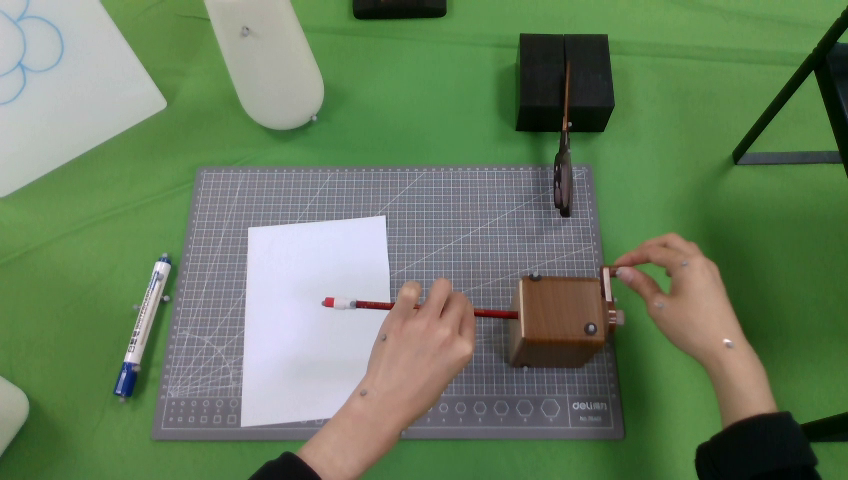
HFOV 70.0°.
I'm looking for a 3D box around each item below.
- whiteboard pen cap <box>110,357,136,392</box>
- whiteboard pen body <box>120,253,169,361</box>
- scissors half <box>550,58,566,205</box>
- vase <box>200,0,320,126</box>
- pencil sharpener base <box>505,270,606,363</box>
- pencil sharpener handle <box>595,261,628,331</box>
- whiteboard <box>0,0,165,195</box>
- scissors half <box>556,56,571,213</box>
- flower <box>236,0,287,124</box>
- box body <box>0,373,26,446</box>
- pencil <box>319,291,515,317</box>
[{"bbox_3d":[-0.293,0.131,0.594,0.018,0.018,0.033,5,63,4],"label":"whiteboard pen cap"},{"bbox_3d":[-0.287,0.078,0.618,0.017,0.017,0.140,6,65,4],"label":"whiteboard pen body"},{"bbox_3d":[0.144,-0.121,0.641,0.013,0.040,0.174,0,68,21],"label":"scissors half"},{"bbox_3d":[-0.173,-0.209,0.639,0.098,0.201,0.097,-1,66,2],"label":"vase"},{"bbox_3d":[0.118,0.074,0.561,0.077,0.108,0.061,0,66,1],"label":"pencil sharpener base"},{"bbox_3d":[0.169,0.049,0.542,0.030,0.036,0.067,1,63,1],"label":"pencil sharpener handle"},{"bbox_3d":[-0.467,-0.241,0.634,0.217,0.309,0.142,-33,51,-11],"label":"whiteboard"},{"bbox_3d":[0.153,-0.116,0.659,0.012,0.040,0.175,-1,86,26],"label":"scissors half"},{"bbox_3d":[-0.183,-0.254,0.568,0.044,0.365,0.038,-7,49,2],"label":"flower"},{"bbox_3d":[-0.583,0.150,0.516,0.363,0.161,0.253,25,70,11],"label":"box body"},{"bbox_3d":[0.004,0.058,0.538,0.194,0.012,0.012,5,67,0],"label":"pencil"}]
